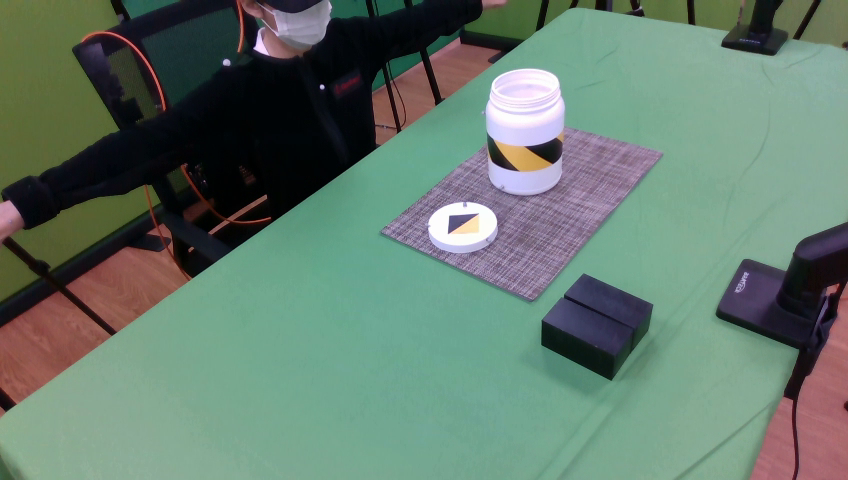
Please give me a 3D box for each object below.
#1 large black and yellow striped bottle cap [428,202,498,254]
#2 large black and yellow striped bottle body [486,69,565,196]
[{"bbox_3d":[0.064,-0.022,0.990,0.115,0.019,0.114,-4,42,4],"label":"large black and yellow striped bottle cap"},{"bbox_3d":[0.173,-0.183,1.033,0.131,0.185,0.130,-5,41,5],"label":"large black and yellow striped bottle body"}]
